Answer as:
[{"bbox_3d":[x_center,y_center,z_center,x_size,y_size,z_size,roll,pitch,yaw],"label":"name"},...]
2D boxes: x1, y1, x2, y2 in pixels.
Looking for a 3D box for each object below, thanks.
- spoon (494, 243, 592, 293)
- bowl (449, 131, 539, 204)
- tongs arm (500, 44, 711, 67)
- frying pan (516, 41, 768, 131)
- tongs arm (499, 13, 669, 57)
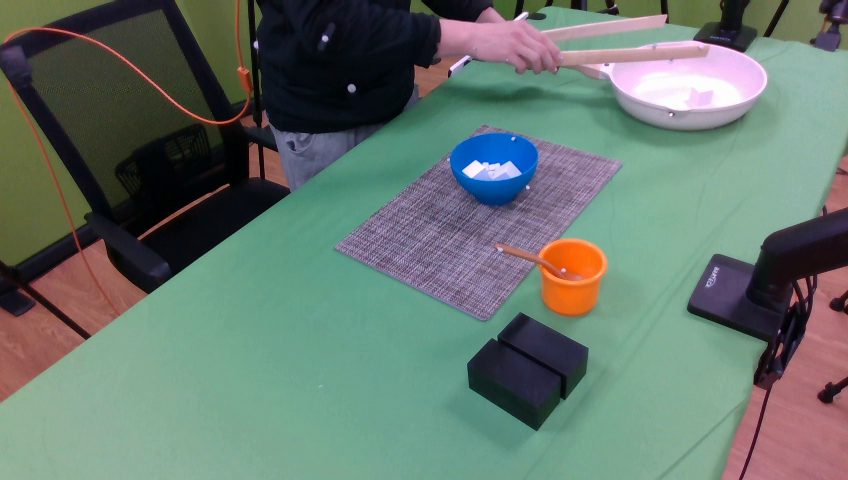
[{"bbox_3d":[0.161,0.035,0.808,0.021,0.195,0.041,-48,40,20],"label":"spoon"},{"bbox_3d":[0.120,-0.114,1.034,0.151,0.077,0.150,-4,41,4],"label":"bowl"},{"bbox_3d":[0.323,-0.330,1.059,0.386,0.026,0.050,-8,48,-14],"label":"tongs arm"},{"bbox_3d":[0.424,-0.338,1.236,0.486,0.103,0.307,18,45,15],"label":"frying pan"},{"bbox_3d":[0.300,-0.379,1.106,0.389,0.028,0.028,-16,54,-21],"label":"tongs arm"}]
